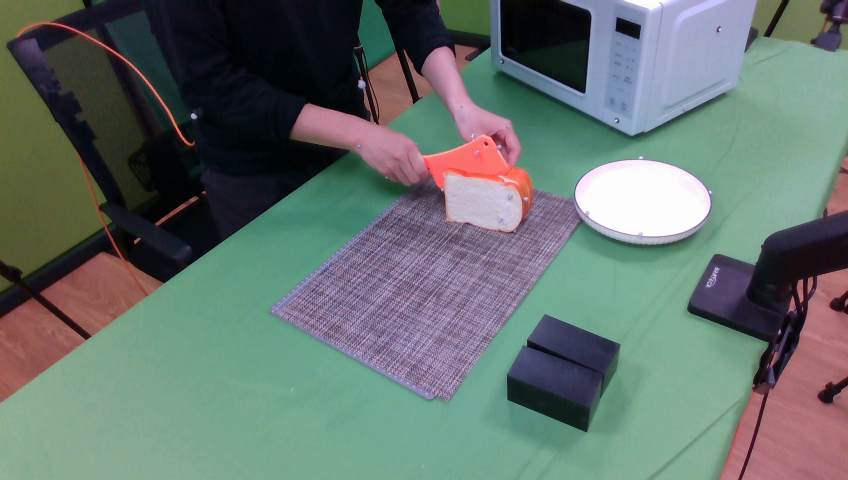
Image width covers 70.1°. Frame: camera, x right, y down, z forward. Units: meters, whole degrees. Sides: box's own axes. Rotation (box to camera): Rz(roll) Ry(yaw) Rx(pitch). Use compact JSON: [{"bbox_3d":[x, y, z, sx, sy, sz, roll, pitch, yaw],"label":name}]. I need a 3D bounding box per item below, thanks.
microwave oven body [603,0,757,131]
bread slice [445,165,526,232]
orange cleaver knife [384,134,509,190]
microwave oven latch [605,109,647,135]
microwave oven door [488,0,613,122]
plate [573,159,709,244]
[{"bbox_3d":[0.396,-0.448,1.248,0.327,0.261,0.437,-27,44,-21],"label":"microwave oven body"},{"bbox_3d":[0.096,-0.064,0.962,0.133,0.107,0.018,13,44,23],"label":"bread slice"},{"bbox_3d":[0.033,-0.116,0.964,0.210,0.077,0.012,-7,26,30],"label":"orange cleaver knife"},{"bbox_3d":[0.378,-0.225,1.139,0.030,0.029,0.078,-26,43,-19],"label":"microwave oven latch"},{"bbox_3d":[0.250,-0.412,1.219,0.039,0.245,0.352,-27,44,-21],"label":"microwave oven door"},{"bbox_3d":[0.347,-0.059,0.979,0.207,0.039,0.206,-4,41,4],"label":"plate"}]
